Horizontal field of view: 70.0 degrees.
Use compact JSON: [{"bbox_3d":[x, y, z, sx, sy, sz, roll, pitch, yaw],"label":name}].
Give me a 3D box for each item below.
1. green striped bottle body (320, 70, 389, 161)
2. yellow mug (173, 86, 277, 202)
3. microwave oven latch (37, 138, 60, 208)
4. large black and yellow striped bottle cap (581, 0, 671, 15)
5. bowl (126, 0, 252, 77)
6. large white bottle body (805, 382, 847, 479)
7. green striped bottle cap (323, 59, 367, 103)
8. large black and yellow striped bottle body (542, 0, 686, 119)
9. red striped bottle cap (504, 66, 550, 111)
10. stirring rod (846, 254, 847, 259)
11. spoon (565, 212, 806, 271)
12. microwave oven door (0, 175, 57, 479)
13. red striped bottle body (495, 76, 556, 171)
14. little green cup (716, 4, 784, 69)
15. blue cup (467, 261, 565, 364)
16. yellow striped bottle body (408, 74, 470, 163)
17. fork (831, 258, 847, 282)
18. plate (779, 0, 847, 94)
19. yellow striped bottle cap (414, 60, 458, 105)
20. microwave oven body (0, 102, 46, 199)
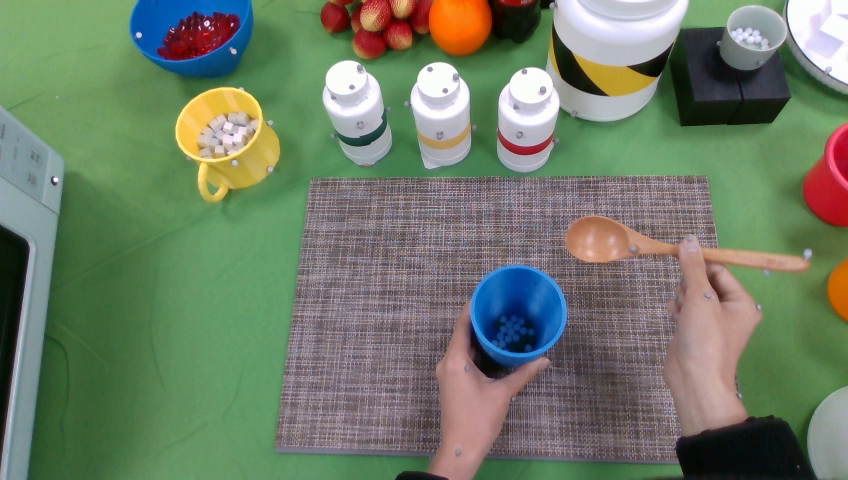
[{"bbox_3d":[-0.077,-0.144,0.675,0.063,0.120,0.062,-2,67,4],"label":"green striped bottle body"},{"bbox_3d":[-0.233,-0.106,0.701,0.100,0.064,0.130,10,69,8],"label":"yellow mug"},{"bbox_3d":[-0.445,-0.076,0.702,0.030,0.030,0.078,-7,68,2],"label":"microwave oven latch"},{"bbox_3d":[0.192,-0.264,0.574,0.115,0.019,0.114,-2,66,5],"label":"large black and yellow striped bottle cap"},{"bbox_3d":[-0.282,-0.261,0.763,0.151,0.077,0.150,-1,68,4],"label":"bowl"},{"bbox_3d":[0.406,0.158,0.471,0.130,0.186,0.129,-2,66,5],"label":"large white bottle body"},{"bbox_3d":[-0.082,-0.165,0.627,0.044,0.020,0.044,-1,66,4],"label":"green striped bottle cap"},{"bbox_3d":[0.200,-0.232,0.652,0.131,0.185,0.130,-2,67,5],"label":"large black and yellow striped bottle body"},{"bbox_3d":[0.103,-0.152,0.604,0.044,0.018,0.044,0,66,1],"label":"red striped bottle cap"},{"bbox_3d":[0.436,0.051,0.538,0.014,0.006,0.175,-6,24,2],"label":"stirring rod"},{"bbox_3d":[0.217,0.008,0.511,0.193,0.022,0.041,10,96,14],"label":"spoon"},{"bbox_3d":[-0.428,0.085,0.525,0.039,0.245,0.353,-9,67,2],"label":"microwave oven door"},{"bbox_3d":[0.110,-0.130,0.652,0.063,0.121,0.062,-4,65,8],"label":"red striped bottle body"},{"bbox_3d":[0.350,-0.219,0.657,0.061,0.039,0.061,-1,66,3],"label":"little green cup"},{"bbox_3d":[0.084,0.078,0.574,0.092,0.101,0.092,-1,67,4],"label":"blue cup"},{"bbox_3d":[0.017,-0.141,0.664,0.063,0.121,0.062,-2,67,5],"label":"yellow striped bottle body"},{"bbox_3d":[0.464,0.052,0.530,0.028,0.019,0.205,-33,24,-14],"label":"fork"},{"bbox_3d":[0.521,-0.247,0.709,0.209,0.038,0.207,-2,68,4],"label":"plate"},{"bbox_3d":[0.012,-0.161,0.617,0.044,0.019,0.044,-1,69,4],"label":"yellow striped bottle cap"},{"bbox_3d":[-0.577,0.070,0.549,0.326,0.262,0.438,-9,68,1],"label":"microwave oven body"}]
